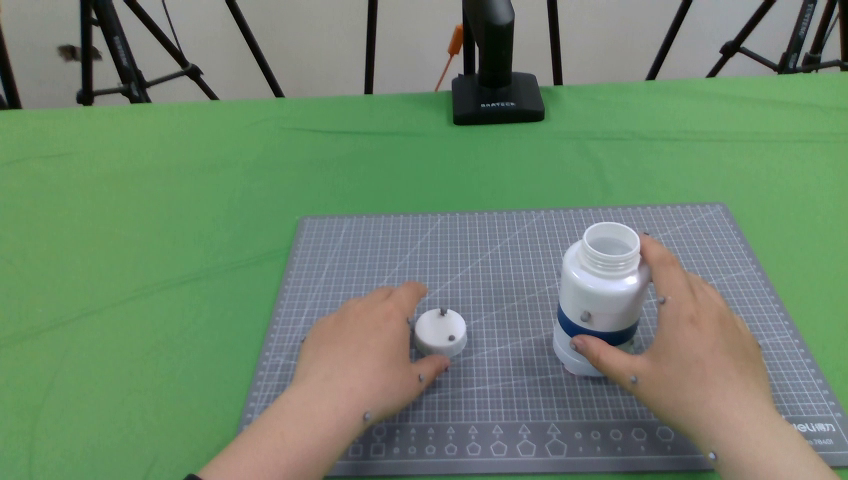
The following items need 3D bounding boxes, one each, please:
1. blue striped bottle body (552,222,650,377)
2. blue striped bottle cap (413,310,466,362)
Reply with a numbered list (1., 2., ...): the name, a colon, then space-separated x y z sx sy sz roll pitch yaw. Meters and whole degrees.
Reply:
1. blue striped bottle body: 0.134 0.044 0.461 0.063 0.122 0.062 -2 41 2
2. blue striped bottle cap: 0.013 0.080 0.511 0.044 0.021 0.044 -2 40 2
